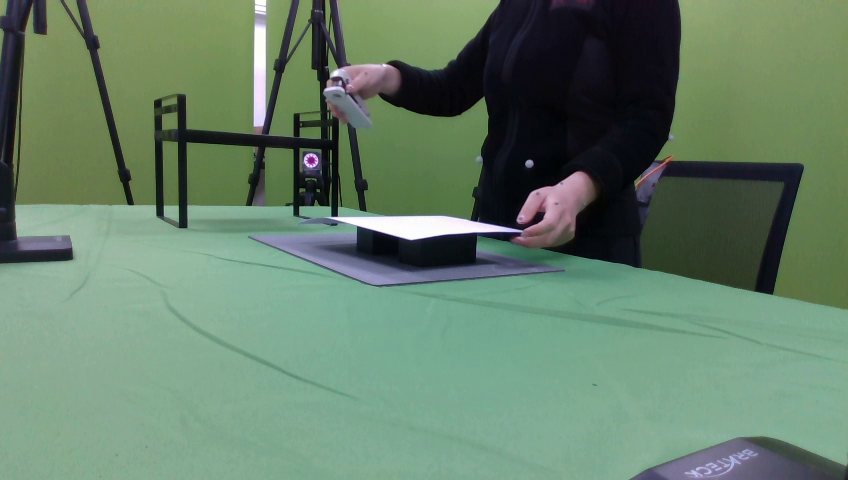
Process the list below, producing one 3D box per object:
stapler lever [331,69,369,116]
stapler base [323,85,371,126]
[{"bbox_3d":[-0.139,-0.278,1.144,0.027,0.040,0.118,3,-19,23],"label":"stapler lever"},{"bbox_3d":[-0.143,-0.256,1.135,0.041,0.024,0.131,3,-21,23],"label":"stapler base"}]
